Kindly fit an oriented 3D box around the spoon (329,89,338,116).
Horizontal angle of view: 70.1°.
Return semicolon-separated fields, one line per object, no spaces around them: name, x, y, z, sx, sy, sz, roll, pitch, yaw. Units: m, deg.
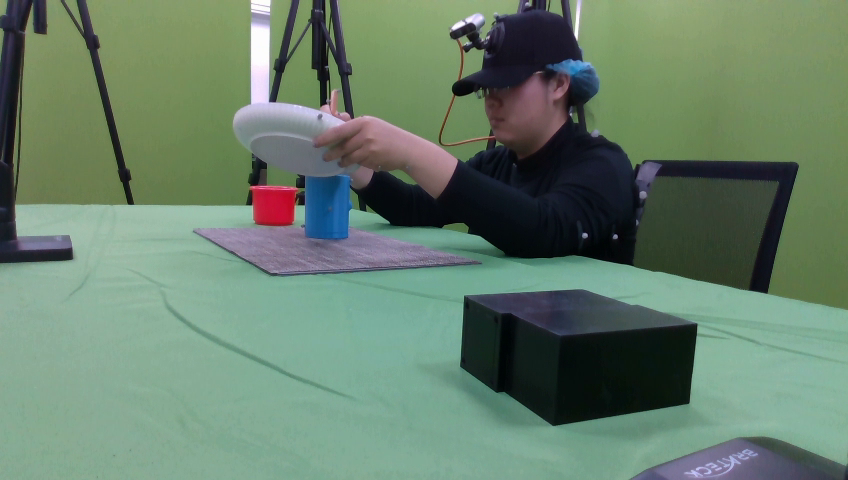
spoon;-0.169;-0.200;1.074;0.041;0.193;0.022;-18;-42;25

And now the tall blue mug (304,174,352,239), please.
tall blue mug;-0.178;-0.062;1.062;0.078;0.108;0.106;-5;11;-38

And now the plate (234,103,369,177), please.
plate;-0.191;-0.143;0.939;0.208;0.039;0.208;7;-16;2
